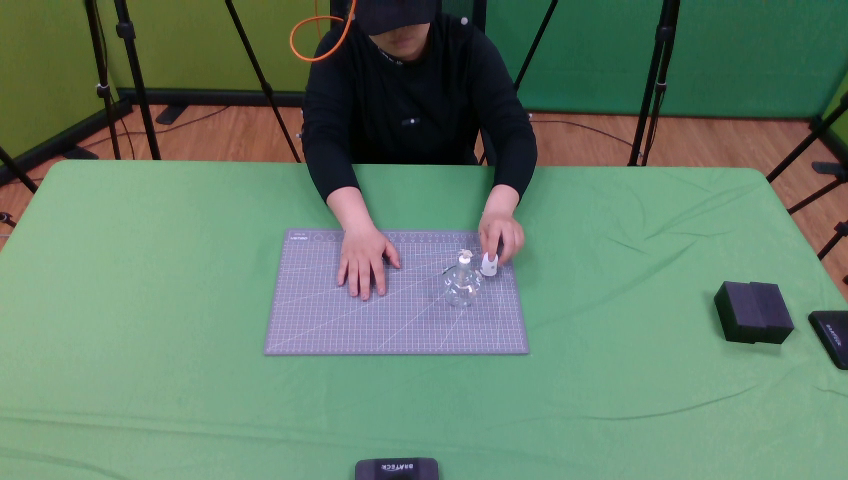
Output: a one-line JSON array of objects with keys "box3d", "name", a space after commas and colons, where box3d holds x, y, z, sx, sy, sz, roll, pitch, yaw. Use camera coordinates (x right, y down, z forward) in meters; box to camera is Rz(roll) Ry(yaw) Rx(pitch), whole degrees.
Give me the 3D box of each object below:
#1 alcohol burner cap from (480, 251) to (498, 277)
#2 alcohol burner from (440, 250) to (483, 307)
[{"box3d": [0.123, 0.041, 1.136, 0.034, 0.048, 0.033, 2, 43, -2], "name": "alcohol burner cap"}, {"box3d": [0.068, 0.064, 1.076, 0.078, 0.120, 0.077, 1, 45, -1], "name": "alcohol burner"}]
